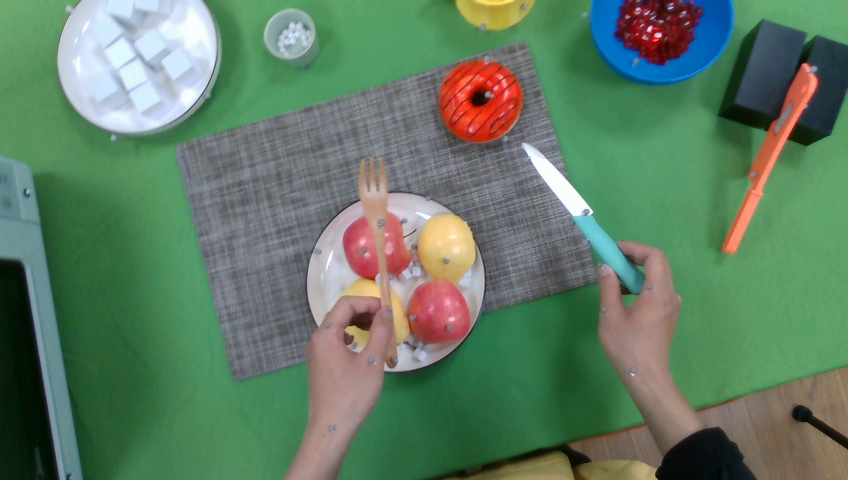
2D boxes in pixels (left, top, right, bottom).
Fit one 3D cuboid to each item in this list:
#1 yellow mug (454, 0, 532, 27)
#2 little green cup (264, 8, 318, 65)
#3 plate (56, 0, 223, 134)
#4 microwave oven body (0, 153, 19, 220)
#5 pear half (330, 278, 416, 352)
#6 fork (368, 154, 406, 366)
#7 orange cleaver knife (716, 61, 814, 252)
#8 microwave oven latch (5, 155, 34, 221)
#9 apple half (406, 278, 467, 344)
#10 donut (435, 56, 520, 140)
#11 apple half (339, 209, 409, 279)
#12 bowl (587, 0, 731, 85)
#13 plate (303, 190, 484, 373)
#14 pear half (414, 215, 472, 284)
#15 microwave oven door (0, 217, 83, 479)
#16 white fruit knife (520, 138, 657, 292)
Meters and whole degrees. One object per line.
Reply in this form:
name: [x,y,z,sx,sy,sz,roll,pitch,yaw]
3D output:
yellow mug: [0.065,-0.308,0.709,0.131,0.064,0.099,-6,85,5]
little green cup: [-0.160,-0.244,0.738,0.061,0.039,0.061,0,85,6]
plate: [-0.347,-0.230,0.753,0.207,0.039,0.207,0,85,5]
microwave oven body: [-0.612,0.136,0.632,0.326,0.261,0.440,-13,85,3]
pear half: [-0.053,0.092,0.685,0.109,0.056,0.076,35,94,4]
fork: [-0.034,0.021,0.587,0.028,0.019,0.207,-2,93,40]
orange cleaver knife: [0.366,-0.088,0.658,0.012,0.077,0.212,21,113,11]
microwave oven latch: [-0.498,-0.061,0.734,0.030,0.029,0.079,-11,85,3]
apple half: [0.006,0.081,0.678,0.081,0.033,0.081,2,95,27]
donut: [0.062,-0.165,0.705,0.099,0.048,0.099,0,87,7]
apple half: [-0.059,0.005,0.688,0.074,0.053,0.080,-11,88,5]
bowl: [0.253,-0.239,0.682,0.151,0.077,0.151,0,86,5]
plate: [-0.034,0.047,0.701,0.209,0.038,0.208,0,85,5]
pear half: [0.017,0.015,0.685,0.070,0.031,0.088,6,88,26]
microwave oven door: [-0.461,0.143,0.613,0.039,0.244,0.355,-14,84,4]
white fruit knife: [0.166,-0.026,0.629,0.027,0.016,0.207,-36,83,-17]
